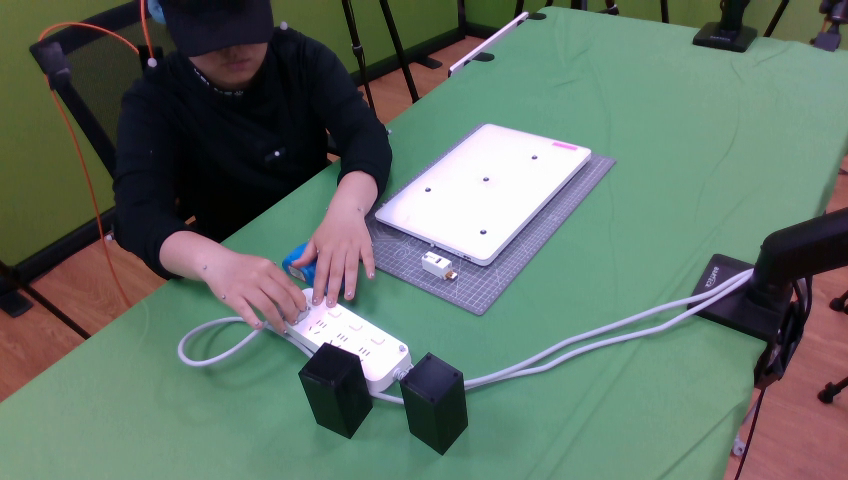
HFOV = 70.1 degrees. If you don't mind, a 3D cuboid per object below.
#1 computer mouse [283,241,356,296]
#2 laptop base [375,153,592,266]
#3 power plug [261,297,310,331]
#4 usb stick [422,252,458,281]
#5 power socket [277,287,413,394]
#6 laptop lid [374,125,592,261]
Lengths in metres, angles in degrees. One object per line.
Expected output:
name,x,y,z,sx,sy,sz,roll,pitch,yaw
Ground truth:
computer mouse,-0.163,0.040,0.935,0.116,0.041,0.063,28,49,29
laptop base,0.112,-0.091,1.063,0.233,0.023,0.355,21,48,34
power plug,-0.192,0.107,0.835,0.073,0.053,0.035,-35,47,-18
usb stick,0.025,0.042,0.908,0.058,0.027,0.021,27,49,31
power socket,-0.114,0.131,0.821,0.225,0.033,0.072,27,50,33
laptop lid,0.109,-0.101,1.057,0.239,0.013,0.358,23,48,34
